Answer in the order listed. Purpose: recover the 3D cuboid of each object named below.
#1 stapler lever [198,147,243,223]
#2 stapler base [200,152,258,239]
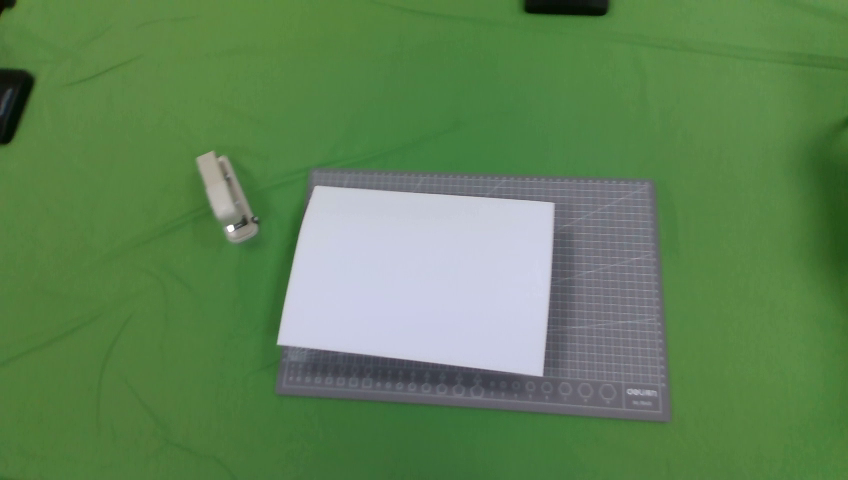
[{"bbox_3d":[-0.261,-0.073,0.771,0.027,0.040,0.117,-25,70,-9],"label":"stapler lever"},{"bbox_3d":[-0.258,-0.063,0.793,0.041,0.024,0.129,-25,68,-9],"label":"stapler base"}]
